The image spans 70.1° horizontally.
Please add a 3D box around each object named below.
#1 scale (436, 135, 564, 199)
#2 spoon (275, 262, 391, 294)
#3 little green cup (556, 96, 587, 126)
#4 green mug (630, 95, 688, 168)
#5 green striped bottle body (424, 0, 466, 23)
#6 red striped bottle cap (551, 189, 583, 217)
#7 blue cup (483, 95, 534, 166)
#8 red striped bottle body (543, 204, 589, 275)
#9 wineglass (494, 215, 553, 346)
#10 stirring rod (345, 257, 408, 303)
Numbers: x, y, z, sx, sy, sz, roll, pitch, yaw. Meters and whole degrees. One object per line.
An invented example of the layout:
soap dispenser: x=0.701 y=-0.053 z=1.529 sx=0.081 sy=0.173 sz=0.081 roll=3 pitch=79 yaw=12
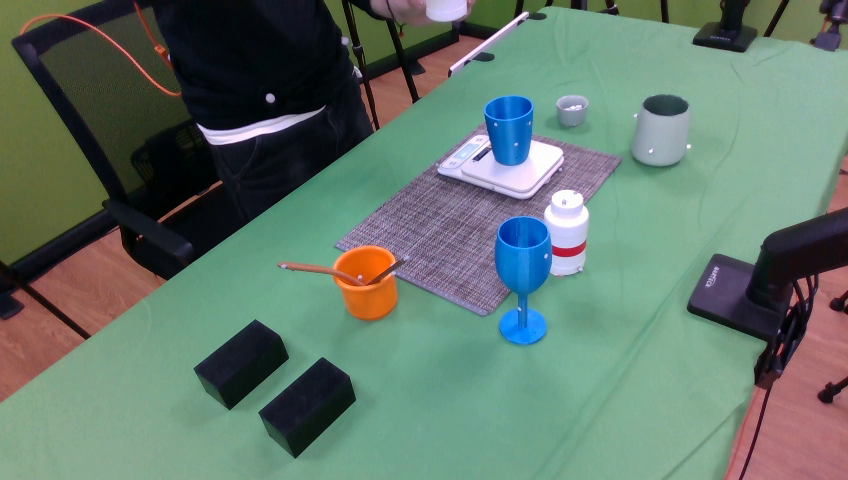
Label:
scale: x=0.137 y=-0.142 z=1.101 sx=0.199 sy=0.032 sz=0.149 roll=22 pitch=48 yaw=30
spoon: x=-0.120 y=0.050 z=0.830 sx=0.041 sy=0.195 sz=0.021 roll=31 pitch=97 yaw=45
little green cup: x=0.295 y=-0.258 z=1.214 sx=0.061 sy=0.039 sz=0.061 roll=-4 pitch=42 yaw=4
green mug: x=0.421 y=-0.201 z=1.081 sx=0.092 sy=0.105 sz=0.125 roll=6 pitch=42 yaw=15
green striped bottle body: x=0.026 y=-0.384 z=0.874 sx=0.063 sy=0.120 sz=0.063 roll=-4 pitch=45 yaw=4
red striped bottle cap: x=0.199 y=-0.052 z=0.843 sx=0.044 sy=0.018 sz=0.044 roll=-2 pitch=42 yaw=2
blue cup: x=0.150 y=-0.186 z=1.051 sx=0.092 sy=0.101 sz=0.092 roll=-6 pitch=41 yaw=6
red striped bottle body: x=0.206 y=-0.011 z=0.877 sx=0.063 sy=0.120 sz=0.062 roll=-5 pitch=41 yaw=4
wineglass: x=0.126 y=0.055 z=0.770 sx=0.074 sy=0.173 sz=0.073 roll=-4 pitch=40 yaw=4
stirring rod: x=-0.067 y=0.057 z=0.815 sx=0.014 sy=0.175 sz=0.006 roll=-24 pitch=82 yaw=-37
